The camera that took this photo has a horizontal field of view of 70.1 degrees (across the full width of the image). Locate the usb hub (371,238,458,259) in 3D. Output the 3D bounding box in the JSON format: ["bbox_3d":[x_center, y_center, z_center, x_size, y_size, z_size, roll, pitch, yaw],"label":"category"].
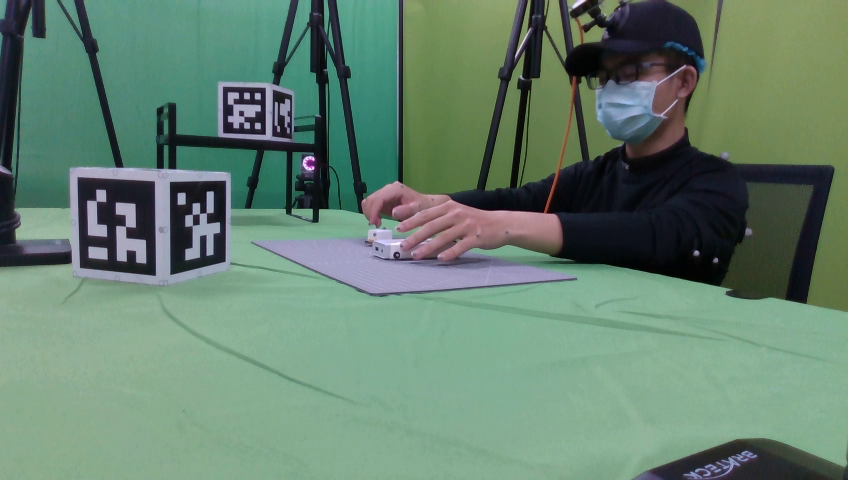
[{"bbox_3d":[-0.013,0.012,0.908,0.126,0.025,0.049,-2,9,-29],"label":"usb hub"}]

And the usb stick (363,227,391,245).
[{"bbox_3d":[-0.080,-0.006,1.019,0.021,0.027,0.059,8,13,32],"label":"usb stick"}]
